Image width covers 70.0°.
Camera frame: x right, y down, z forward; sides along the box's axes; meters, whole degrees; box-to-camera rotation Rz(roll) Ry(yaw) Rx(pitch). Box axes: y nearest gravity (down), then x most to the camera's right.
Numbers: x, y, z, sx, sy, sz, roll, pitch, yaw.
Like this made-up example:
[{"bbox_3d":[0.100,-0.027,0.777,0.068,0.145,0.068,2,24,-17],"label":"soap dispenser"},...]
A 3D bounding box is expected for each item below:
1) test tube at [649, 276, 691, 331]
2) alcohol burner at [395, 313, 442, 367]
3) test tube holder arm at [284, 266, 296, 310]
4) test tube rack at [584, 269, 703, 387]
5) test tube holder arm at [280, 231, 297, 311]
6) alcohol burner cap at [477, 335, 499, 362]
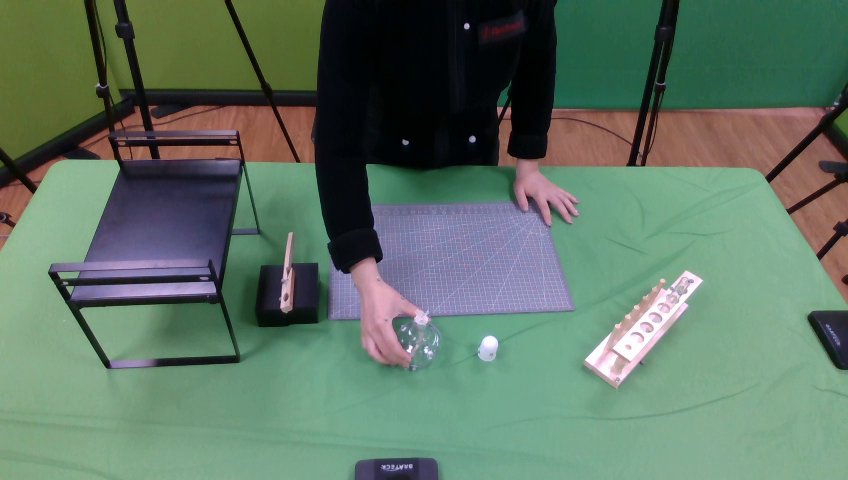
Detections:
[{"bbox_3d":[0.406,0.109,1.007,0.017,0.151,0.017,3,50,-3],"label":"test tube"},{"bbox_3d":[-0.007,0.154,0.984,0.078,0.119,0.077,4,48,-4],"label":"alcohol burner"},{"bbox_3d":[-0.228,0.081,1.033,0.010,0.015,0.087,-13,46,7],"label":"test tube holder arm"},{"bbox_3d":[0.381,0.139,1.046,0.066,0.085,0.242,37,54,28],"label":"test tube rack"},{"bbox_3d":[-0.237,0.051,1.065,0.013,0.015,0.177,-13,46,7],"label":"test tube holder arm"},{"bbox_3d":[0.109,0.180,1.017,0.034,0.048,0.033,3,50,-4],"label":"alcohol burner cap"}]
